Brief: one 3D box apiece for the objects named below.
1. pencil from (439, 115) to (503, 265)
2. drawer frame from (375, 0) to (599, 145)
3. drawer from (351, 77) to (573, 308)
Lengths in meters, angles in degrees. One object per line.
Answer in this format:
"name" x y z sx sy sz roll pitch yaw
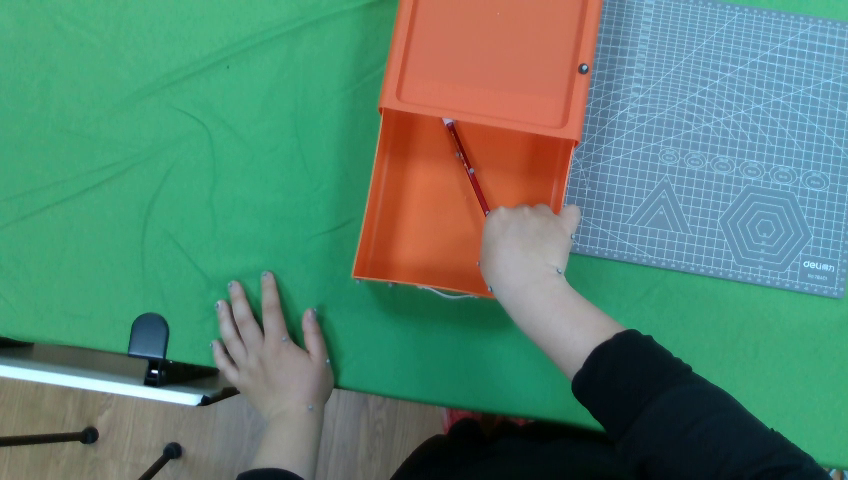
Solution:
"pencil" 0.047 -0.064 0.634 0.012 0.012 0.193 -21 82 0
"drawer frame" 0.068 -0.209 0.624 0.201 0.083 0.213 9 85 3
"drawer" 0.041 -0.047 0.615 0.194 0.073 0.211 9 87 4
